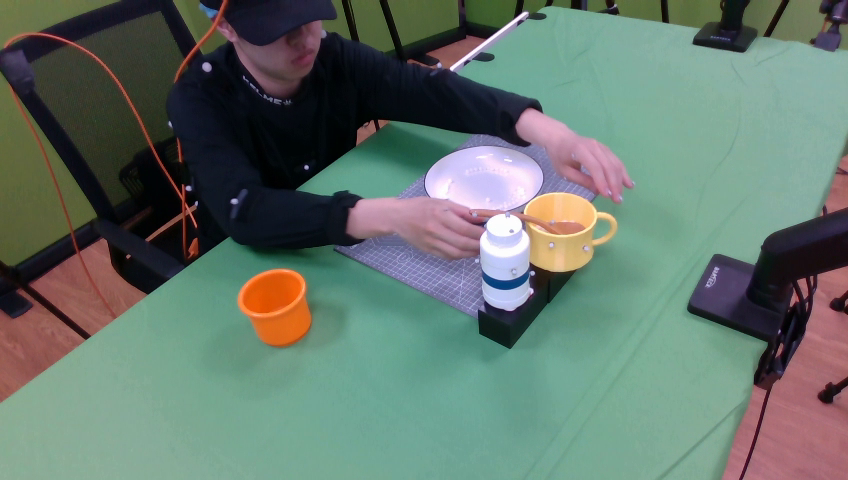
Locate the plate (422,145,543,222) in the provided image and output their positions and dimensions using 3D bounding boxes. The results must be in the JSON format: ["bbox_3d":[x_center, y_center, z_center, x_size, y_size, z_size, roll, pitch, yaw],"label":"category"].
[{"bbox_3d":[0.101,-0.094,1.048,0.207,0.039,0.206,-4,41,4],"label":"plate"}]

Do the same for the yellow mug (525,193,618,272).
[{"bbox_3d":[0.206,-0.013,0.845,0.131,0.064,0.099,-3,40,1],"label":"yellow mug"}]

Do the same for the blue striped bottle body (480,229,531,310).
[{"bbox_3d":[0.104,0.027,0.769,0.063,0.121,0.063,-4,41,4],"label":"blue striped bottle body"}]

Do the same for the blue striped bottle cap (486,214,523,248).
[{"bbox_3d":[0.098,-0.011,0.735,0.044,0.021,0.044,-2,38,2],"label":"blue striped bottle cap"}]

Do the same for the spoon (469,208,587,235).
[{"bbox_3d":[0.143,-0.026,0.817,0.195,0.021,0.041,12,35,-29],"label":"spoon"}]
